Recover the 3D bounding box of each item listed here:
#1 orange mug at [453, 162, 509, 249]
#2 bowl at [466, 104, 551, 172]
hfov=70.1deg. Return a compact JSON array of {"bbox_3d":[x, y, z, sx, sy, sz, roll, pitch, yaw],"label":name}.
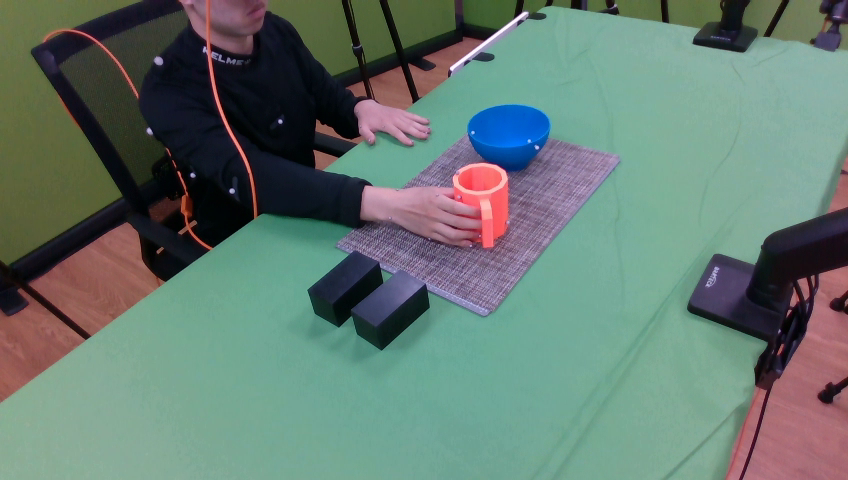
[{"bbox_3d":[0.092,-0.049,0.948,0.083,0.101,0.125,-7,37,1],"label":"orange mug"},{"bbox_3d":[0.155,-0.177,1.105,0.151,0.077,0.150,-4,40,4],"label":"bowl"}]
